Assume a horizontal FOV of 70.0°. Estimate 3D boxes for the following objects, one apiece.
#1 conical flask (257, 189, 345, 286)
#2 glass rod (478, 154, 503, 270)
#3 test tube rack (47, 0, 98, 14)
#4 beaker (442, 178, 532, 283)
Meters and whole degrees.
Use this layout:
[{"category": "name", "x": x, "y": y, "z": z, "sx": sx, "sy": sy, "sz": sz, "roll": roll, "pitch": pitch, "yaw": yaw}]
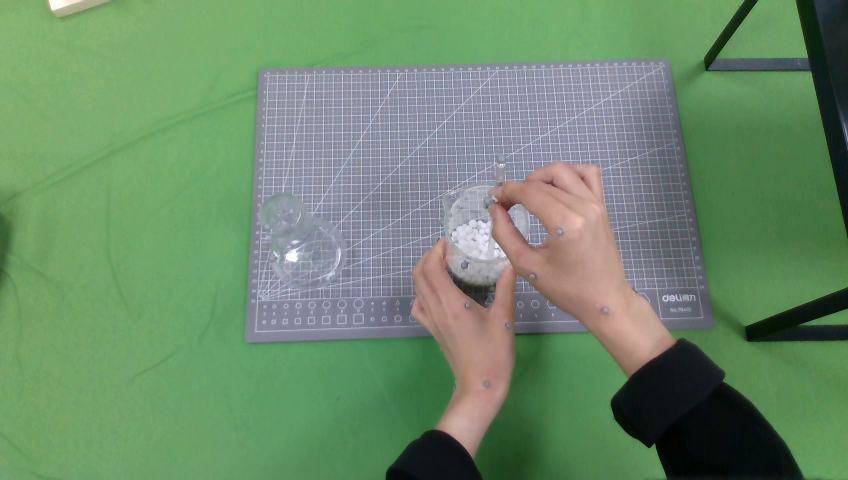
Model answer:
[{"category": "conical flask", "x": -0.116, "y": -0.007, "z": 0.546, "sx": 0.075, "sy": 0.122, "sz": 0.075, "roll": 0, "pitch": 73, "yaw": 0}, {"category": "glass rod", "x": 0.052, "y": -0.015, "z": 0.490, "sx": 0.008, "sy": 0.201, "sz": 0.008, "roll": 0, "pitch": 66, "yaw": 2}, {"category": "test tube rack", "x": -0.318, "y": -0.341, "z": 0.666, "sx": 0.242, "sy": 0.085, "sz": 0.066, "roll": -22, "pitch": 74, "yaw": -7}, {"category": "beaker", "x": 0.051, "y": -0.006, "z": 0.558, "sx": 0.083, "sy": 0.101, "sz": 0.074, "roll": 34, "pitch": 76, "yaw": 11}]
